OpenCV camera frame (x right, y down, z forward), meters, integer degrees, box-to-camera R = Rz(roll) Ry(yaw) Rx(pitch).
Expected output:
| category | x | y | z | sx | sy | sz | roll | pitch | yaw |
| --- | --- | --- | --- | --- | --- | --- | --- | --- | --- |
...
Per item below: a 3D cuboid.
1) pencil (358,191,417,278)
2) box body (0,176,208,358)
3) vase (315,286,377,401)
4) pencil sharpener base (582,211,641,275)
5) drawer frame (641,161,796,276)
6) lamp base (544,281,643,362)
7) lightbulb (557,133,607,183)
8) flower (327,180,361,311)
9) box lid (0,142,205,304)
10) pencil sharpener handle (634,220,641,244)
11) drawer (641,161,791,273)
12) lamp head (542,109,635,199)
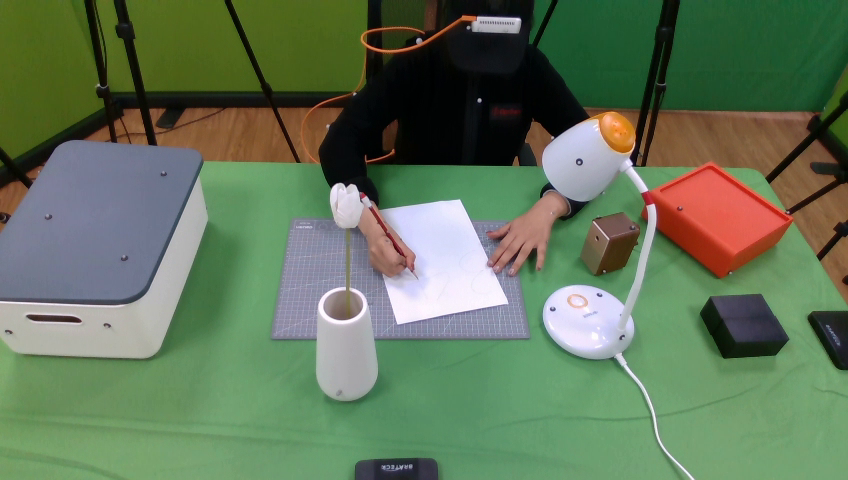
| category | x | y | z | sx | sy | sz | roll | pitch | yaw |
| --- | --- | --- | --- | --- | --- | --- | --- | --- | --- |
| pencil | -0.064 | -0.008 | 1.114 | 0.012 | 0.012 | 0.194 | -42 | 106 | -35 |
| box body | -0.546 | 0.017 | 1.045 | 0.254 | 0.161 | 0.361 | 2 | 46 | -2 |
| vase | -0.119 | 0.159 | 0.911 | 0.098 | 0.201 | 0.097 | 2 | 47 | -2 |
| pencil sharpener base | 0.357 | 0.005 | 1.156 | 0.077 | 0.107 | 0.061 | -15 | 48 | -17 |
| drawer frame | 0.599 | -0.051 | 1.244 | 0.202 | 0.083 | 0.212 | -24 | 52 | -25 |
| lamp base | 0.303 | 0.095 | 1.014 | 0.161 | 0.181 | 0.178 | -24 | 54 | -24 |
| lightbulb | 0.243 | -0.127 | 0.917 | 0.059 | 0.108 | 0.059 | 6 | 67 | -14 |
| flower | -0.110 | 0.086 | 0.867 | 0.044 | 0.363 | 0.038 | 22 | 33 | 36 |
| box lid | -0.534 | -0.044 | 0.995 | 0.263 | 0.015 | 0.369 | 3 | 45 | -3 |
| pencil sharpener handle | 0.405 | -0.015 | 1.162 | 0.031 | 0.068 | 0.035 | -15 | 46 | -17 |
| drawer | 0.596 | -0.051 | 1.246 | 0.194 | 0.073 | 0.210 | -23 | 52 | -25 |
| lamp head | 0.253 | -0.131 | 0.893 | 0.113 | 0.123 | 0.112 | 10 | 66 | -24 |
